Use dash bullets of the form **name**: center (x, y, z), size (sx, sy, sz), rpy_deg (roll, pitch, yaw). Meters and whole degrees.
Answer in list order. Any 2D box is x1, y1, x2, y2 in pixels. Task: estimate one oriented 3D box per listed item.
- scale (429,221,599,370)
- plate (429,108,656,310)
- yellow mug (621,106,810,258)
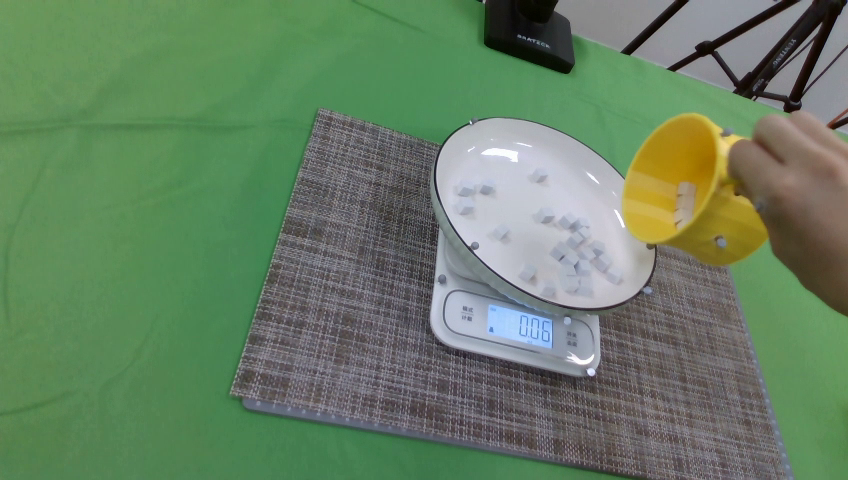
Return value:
- **scale**: center (0.083, 0.009, 0.533), size (0.149, 0.032, 0.199), rpy_deg (15, 51, -11)
- **plate**: center (0.100, -0.028, 0.523), size (0.210, 0.038, 0.207), rpy_deg (12, 51, -15)
- **yellow mug**: center (0.212, -0.042, 0.440), size (0.064, 0.130, 0.100), rpy_deg (15, 87, -21)
